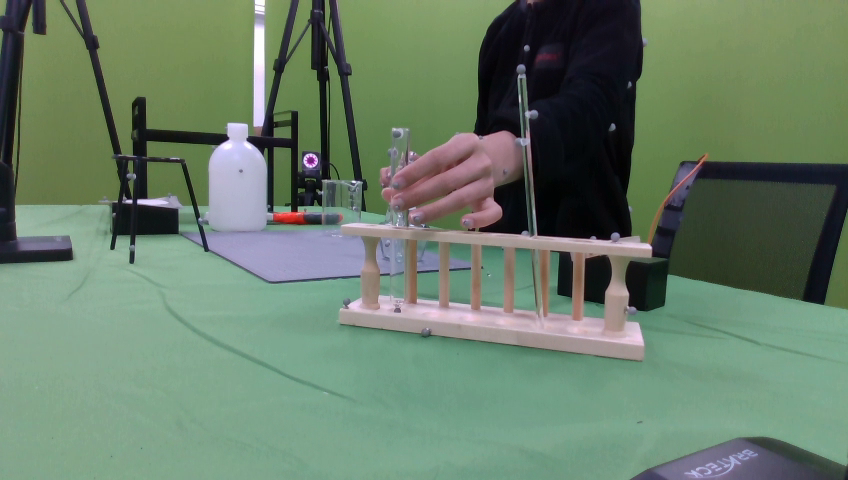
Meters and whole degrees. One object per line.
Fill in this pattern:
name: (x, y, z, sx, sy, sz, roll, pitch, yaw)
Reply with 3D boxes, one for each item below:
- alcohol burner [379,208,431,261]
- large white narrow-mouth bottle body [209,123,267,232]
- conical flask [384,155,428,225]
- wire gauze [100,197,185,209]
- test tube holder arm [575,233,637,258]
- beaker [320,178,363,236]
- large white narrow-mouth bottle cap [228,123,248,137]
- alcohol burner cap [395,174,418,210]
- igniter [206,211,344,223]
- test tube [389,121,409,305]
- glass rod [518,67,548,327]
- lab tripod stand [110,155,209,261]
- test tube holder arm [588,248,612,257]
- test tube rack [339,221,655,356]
alcohol burner: (-0.028, -0.031, 0.838, 0.078, 0.119, 0.078, 0, 6, 0)
large white narrow-mouth bottle body: (-0.340, -0.115, 1.109, 0.102, 0.194, 0.102, 2, 8, 0)
conical flask: (-0.033, -0.080, 1.023, 0.075, 0.122, 0.075, -2, 18, 1)
wire gauze: (-0.469, -0.062, 1.008, 0.126, 0.011, 0.121, -2, 8, -25)
test tube holder arm: (0.200, 0.004, 0.652, 0.013, 0.015, 0.179, 1, 5, 34)
beaker: (-0.145, -0.059, 1.079, 0.074, 0.100, 0.083, -4, 10, -36)
large white narrow-mouth bottle cap: (-0.338, -0.199, 1.097, 0.038, 0.024, 0.037, 2, 8, 0)
alcohol burner cap: (-0.026, -0.067, 0.833, 0.034, 0.048, 0.034, -2, 12, 1)
igniter: (-0.302, -0.048, 1.249, 0.278, 0.025, 0.057, -2, -2, -27)
test tube: (-0.020, -0.020, 0.489, 0.017, 0.150, 0.017, 1, 11, 0)
glass rod: (0.084, -0.029, 0.459, 0.008, 0.199, 0.008, -7, 11, 2)
lab tripod stand: (-0.362, -0.046, 0.806, 0.148, 0.131, 0.148, 2, 5, 0)
test tube holder arm: (0.179, 0.007, 0.612, 0.010, 0.015, 0.088, 1, 5, 35)
test tube rack: (0.056, 0.032, 0.495, 0.242, 0.085, 0.067, 4, 7, 15)
